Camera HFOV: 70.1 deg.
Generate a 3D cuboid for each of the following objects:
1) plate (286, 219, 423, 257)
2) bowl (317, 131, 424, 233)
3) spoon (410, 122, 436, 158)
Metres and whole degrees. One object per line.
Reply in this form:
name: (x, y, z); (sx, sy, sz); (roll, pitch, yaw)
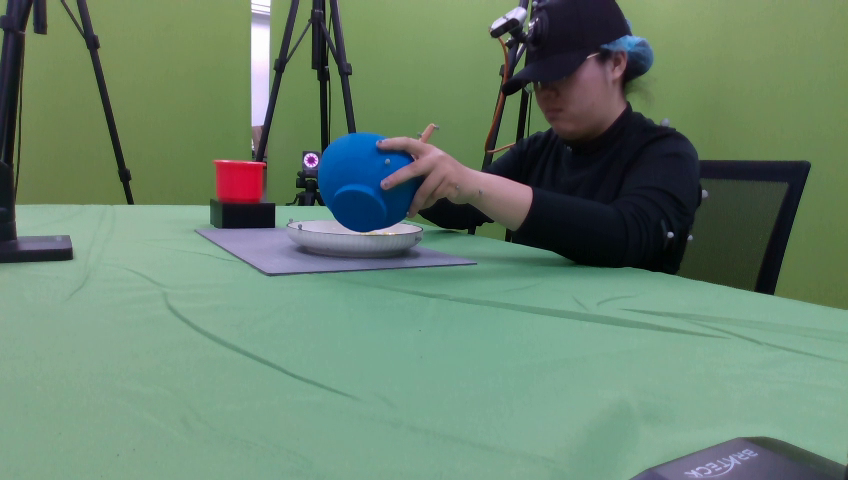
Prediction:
plate: (-0.105, -0.003, 0.922); (0.208, 0.039, 0.207); (3, 7, 0)
bowl: (-0.081, -0.062, 0.818); (0.151, 0.151, 0.077); (3, 42, 9)
spoon: (-0.034, -0.113, 0.929); (0.041, 0.022, 0.194); (15, 57, 35)
